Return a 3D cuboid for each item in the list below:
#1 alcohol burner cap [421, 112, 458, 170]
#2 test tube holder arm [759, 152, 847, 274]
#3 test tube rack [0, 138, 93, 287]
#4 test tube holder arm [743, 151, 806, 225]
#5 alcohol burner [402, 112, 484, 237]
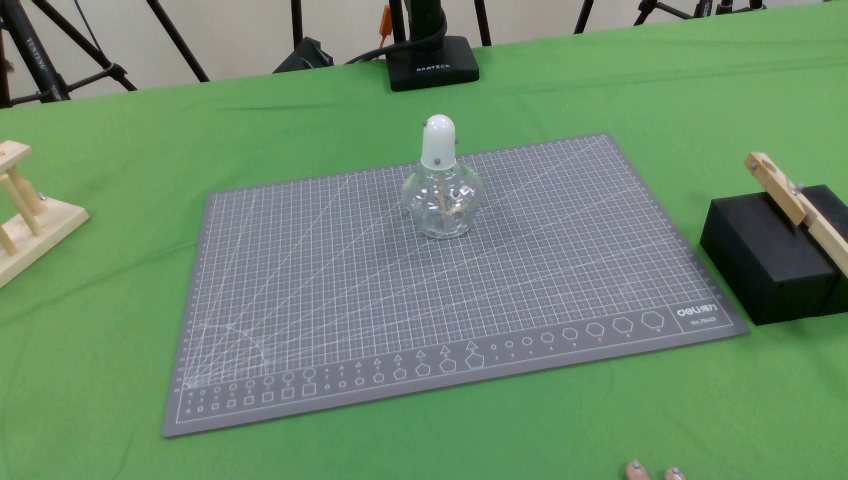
[{"bbox_3d":[0.014,-0.088,0.531,0.034,0.048,0.033,1,41,0],"label":"alcohol burner cap"},{"bbox_3d":[0.305,-0.015,0.475,0.013,0.015,0.176,-2,42,-8],"label":"test tube holder arm"},{"bbox_3d":[-0.437,0.011,0.552,0.066,0.086,0.241,15,46,21],"label":"test tube rack"},{"bbox_3d":[0.294,-0.045,0.507,0.010,0.015,0.087,-2,42,-8],"label":"test tube holder arm"},{"bbox_3d":[0.016,-0.062,0.556,0.078,0.120,0.077,-4,41,4],"label":"alcohol burner"}]
